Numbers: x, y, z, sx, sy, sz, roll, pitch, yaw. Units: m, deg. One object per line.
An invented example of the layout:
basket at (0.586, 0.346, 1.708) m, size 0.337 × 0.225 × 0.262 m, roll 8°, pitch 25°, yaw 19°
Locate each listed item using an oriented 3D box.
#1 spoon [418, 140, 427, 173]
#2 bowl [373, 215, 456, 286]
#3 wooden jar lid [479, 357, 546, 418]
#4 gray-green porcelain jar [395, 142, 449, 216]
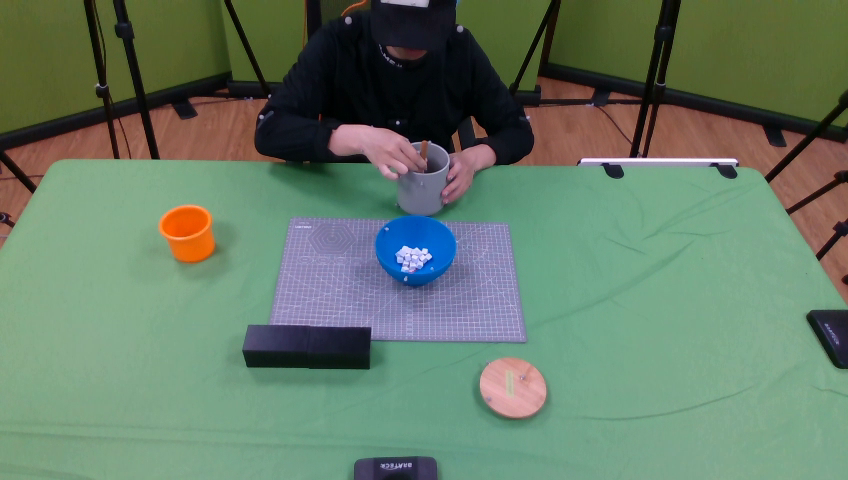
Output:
spoon at (-0.009, -0.132, 1.196) m, size 0.041 × 0.194 × 0.021 m, roll 16°, pitch 54°, yaw 6°
bowl at (-0.019, 0.032, 1.122) m, size 0.151 × 0.077 × 0.150 m, roll 2°, pitch 46°, yaw -2°
wooden jar lid at (0.142, 0.240, 0.979) m, size 0.108 × 0.021 × 0.107 m, roll 1°, pitch 46°, yaw -1°
gray-green porcelain jar at (-0.007, -0.120, 1.241) m, size 0.106 × 0.127 × 0.105 m, roll 2°, pitch 46°, yaw -2°
